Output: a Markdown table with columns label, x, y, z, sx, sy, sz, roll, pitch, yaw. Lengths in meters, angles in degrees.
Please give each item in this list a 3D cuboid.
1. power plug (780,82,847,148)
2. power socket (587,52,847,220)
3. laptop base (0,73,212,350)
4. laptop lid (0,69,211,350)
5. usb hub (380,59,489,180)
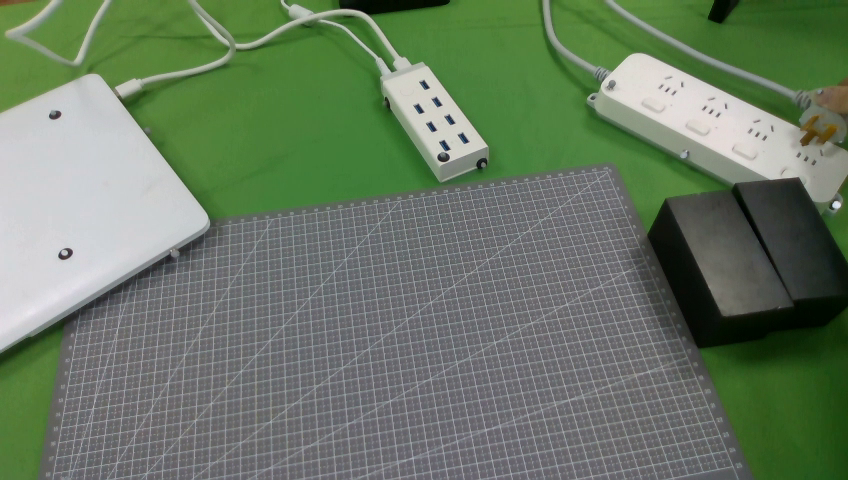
| label | x | y | z | sx | sy | sz | roll | pitch | yaw |
| --- | --- | --- | --- | --- | --- | --- | --- | --- | --- |
| power plug | 0.319 | -0.101 | 0.507 | 0.052 | 0.035 | 0.072 | -42 | 26 | -2 |
| power socket | 0.253 | -0.095 | 0.524 | 0.225 | 0.033 | 0.072 | 35 | 64 | 22 |
| laptop base | -0.375 | 0.009 | 0.482 | 0.354 | 0.023 | 0.233 | -35 | 65 | -19 |
| laptop lid | -0.374 | 0.004 | 0.470 | 0.357 | 0.013 | 0.239 | -33 | 63 | -19 |
| usb hub | 0.007 | -0.111 | 0.546 | 0.049 | 0.025 | 0.124 | -24 | 59 | -13 |
